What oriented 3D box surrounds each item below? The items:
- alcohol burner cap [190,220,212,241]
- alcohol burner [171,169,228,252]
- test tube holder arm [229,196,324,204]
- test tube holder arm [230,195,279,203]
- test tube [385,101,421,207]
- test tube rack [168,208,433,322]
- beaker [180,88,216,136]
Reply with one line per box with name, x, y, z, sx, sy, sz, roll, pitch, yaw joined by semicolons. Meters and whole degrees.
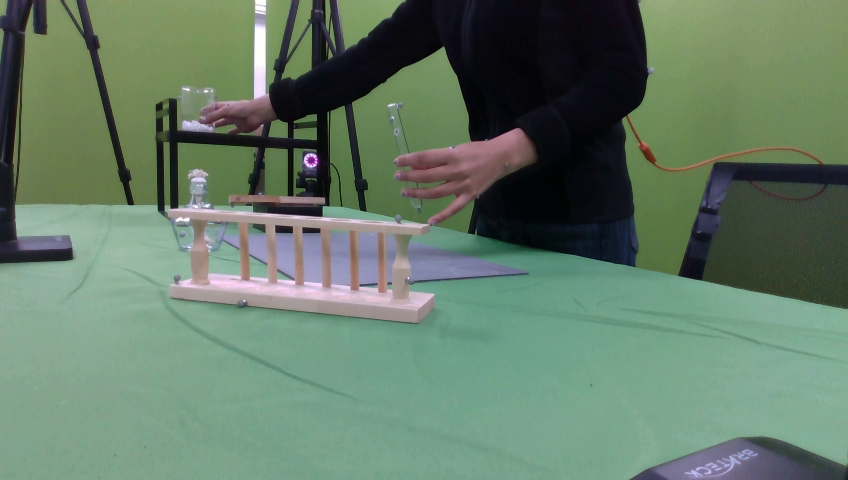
alcohol burner cap;-0.365;-0.023;0.988;0.034;0.048;0.034;1;7;0
alcohol burner;-0.325;-0.043;0.875;0.078;0.119;0.078;0;6;0
test tube holder arm;-0.275;-0.076;1.142;0.179;0.015;0.013;-2;-2;-31
test tube holder arm;-0.311;-0.075;1.114;0.088;0.015;0.010;-2;-2;-31
test tube;-0.029;-0.119;0.845;0.017;0.150;0.017;-14;12;3
test tube rack;-0.115;0.018;0.574;0.242;0.085;0.067;4;8;13
beaker;-0.498;-0.283;1.339;0.074;0.100;0.083;-2;10;-28
